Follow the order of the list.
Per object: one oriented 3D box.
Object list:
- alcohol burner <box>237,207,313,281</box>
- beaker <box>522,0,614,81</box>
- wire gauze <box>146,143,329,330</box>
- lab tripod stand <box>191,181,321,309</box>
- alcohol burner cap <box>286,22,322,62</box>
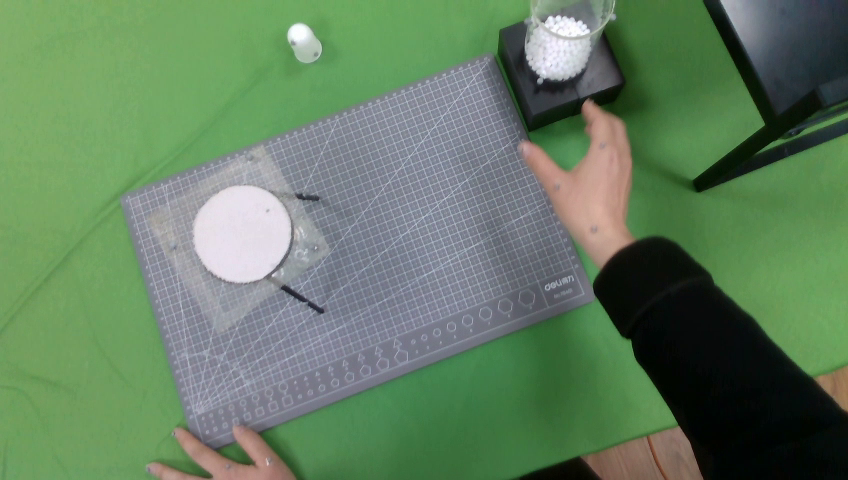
[{"bbox_3d":[-0.155,0.001,0.609,0.078,0.119,0.077,-1,80,5],"label":"alcohol burner"},{"bbox_3d":[0.132,-0.206,0.581,0.074,0.100,0.083,-10,80,2],"label":"beaker"},{"bbox_3d":[-0.164,-0.006,0.532,0.121,0.011,0.124,-34,83,-3],"label":"wire gauze"},{"bbox_3d":[-0.155,0.004,0.598,0.148,0.132,0.148,0,82,2],"label":"lab tripod stand"},{"bbox_3d":[-0.136,-0.225,0.680,0.034,0.048,0.034,-1,83,6],"label":"alcohol burner cap"}]
